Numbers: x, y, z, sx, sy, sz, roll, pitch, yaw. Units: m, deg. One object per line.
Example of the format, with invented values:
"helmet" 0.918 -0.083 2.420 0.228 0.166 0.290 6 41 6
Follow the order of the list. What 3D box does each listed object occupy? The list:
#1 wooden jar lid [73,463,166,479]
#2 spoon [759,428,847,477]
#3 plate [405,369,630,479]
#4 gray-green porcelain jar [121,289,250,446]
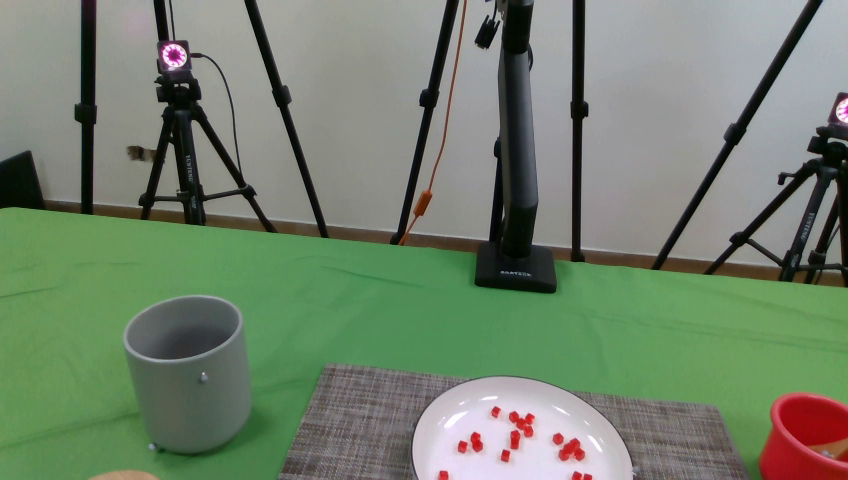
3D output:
"wooden jar lid" -0.268 0.237 0.510 0.108 0.021 0.107 4 30 -2
"spoon" 0.411 0.176 0.563 0.194 0.022 0.041 -35 18 25
"plate" 0.085 0.206 0.576 0.208 0.039 0.206 3 29 -1
"gray-green porcelain jar" -0.230 0.128 0.597 0.106 0.127 0.105 3 30 -1
